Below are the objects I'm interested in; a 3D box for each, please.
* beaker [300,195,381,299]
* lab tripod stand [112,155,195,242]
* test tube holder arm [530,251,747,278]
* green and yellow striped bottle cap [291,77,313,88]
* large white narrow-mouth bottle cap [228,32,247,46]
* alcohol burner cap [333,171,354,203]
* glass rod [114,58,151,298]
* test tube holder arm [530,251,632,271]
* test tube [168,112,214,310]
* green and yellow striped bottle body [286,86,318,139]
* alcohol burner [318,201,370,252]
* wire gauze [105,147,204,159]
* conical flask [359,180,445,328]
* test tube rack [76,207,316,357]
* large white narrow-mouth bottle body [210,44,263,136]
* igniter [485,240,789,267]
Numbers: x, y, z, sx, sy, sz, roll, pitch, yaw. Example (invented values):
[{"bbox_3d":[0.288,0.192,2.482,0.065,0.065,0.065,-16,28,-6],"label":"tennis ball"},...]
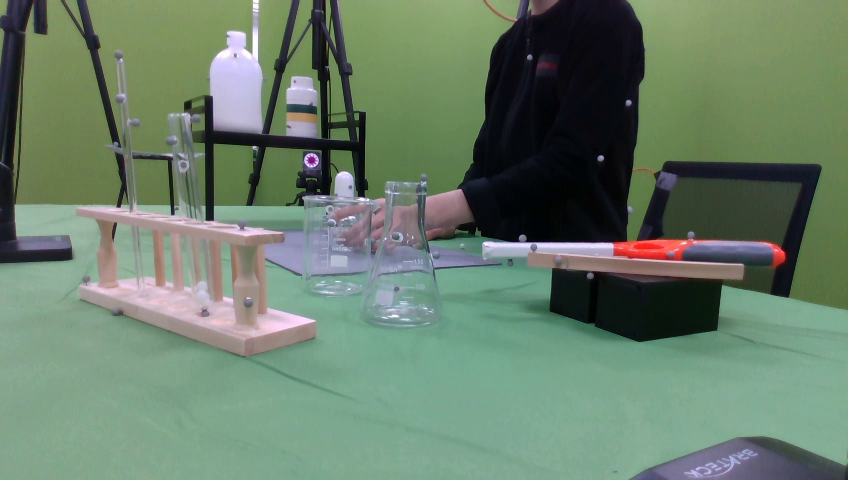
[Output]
[{"bbox_3d":[-0.087,0.006,0.626,0.084,0.100,0.074,1,8,-17],"label":"beaker"},{"bbox_3d":[-0.405,-0.064,0.931,0.148,0.131,0.148,1,6,0],"label":"lab tripod stand"},{"bbox_3d":[0.182,0.022,0.523,0.178,0.015,0.013,3,6,12],"label":"test tube holder arm"},{"bbox_3d":[-0.249,-0.321,1.237,0.045,0.020,0.045,3,5,0],"label":"green and yellow striped bottle cap"},{"bbox_3d":[-0.364,-0.390,1.180,0.038,0.024,0.037,3,8,0],"label":"large white narrow-mouth bottle cap"},{"bbox_3d":[-0.120,-0.079,0.900,0.034,0.048,0.034,0,6,0],"label":"alcohol burner cap"},{"bbox_3d":[-0.236,-0.044,0.492,0.008,0.199,0.008,0,15,0],"label":"glass rod"},{"bbox_3d":[0.139,0.019,0.538,0.087,0.015,0.010,3,6,13],"label":"test tube holder arm"},{"bbox_3d":[-0.175,-0.020,0.455,0.017,0.150,0.017,-4,9,1],"label":"test tube"},{"bbox_3d":[-0.251,-0.270,1.245,0.063,0.119,0.063,2,7,0],"label":"green and yellow striped bottle body"},{"bbox_3d":[-0.120,-0.043,0.905,0.078,0.119,0.078,0,5,0],"label":"alcohol burner"},{"bbox_3d":[-0.407,-0.131,0.928,0.125,0.011,0.121,2,6,-11],"label":"wire gauze"},{"bbox_3d":[-0.017,0.010,0.522,0.075,0.122,0.075,2,7,0],"label":"conical flask"},{"bbox_3d":[-0.196,0.023,0.500,0.241,0.085,0.067,8,9,36],"label":"test tube rack"},{"bbox_3d":[-0.369,-0.305,1.194,0.102,0.194,0.102,3,8,0],"label":"large white narrow-mouth bottle body"},{"bbox_3d":[0.197,0.012,0.585,0.276,0.025,0.057,1,5,12],"label":"igniter"}]
